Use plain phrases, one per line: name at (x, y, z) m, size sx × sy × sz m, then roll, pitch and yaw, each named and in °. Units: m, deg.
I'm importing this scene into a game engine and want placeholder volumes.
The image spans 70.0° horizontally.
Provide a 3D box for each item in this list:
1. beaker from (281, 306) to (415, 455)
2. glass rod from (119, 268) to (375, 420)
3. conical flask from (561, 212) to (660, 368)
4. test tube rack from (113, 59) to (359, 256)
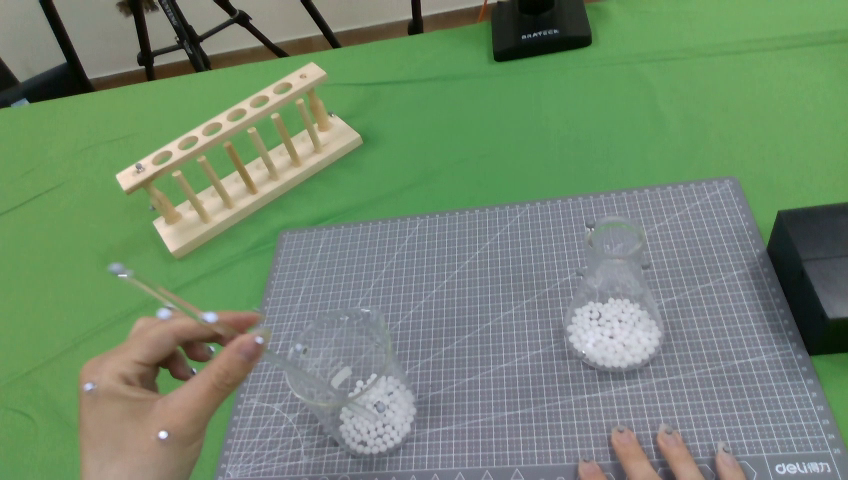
beaker at (-0.048, 0.105, 0.443) m, size 0.073 × 0.101 × 0.083 m, roll 20°, pitch 58°, yaw 29°
glass rod at (-0.093, 0.070, 0.364) m, size 0.008 × 0.202 × 0.008 m, roll -25°, pitch 42°, yaw 25°
conical flask at (0.134, 0.033, 0.436) m, size 0.075 × 0.123 × 0.074 m, roll -8°, pitch 49°, yaw 10°
test tube rack at (-0.198, -0.093, 0.665) m, size 0.242 × 0.086 × 0.066 m, roll -36°, pitch 50°, yaw -15°
